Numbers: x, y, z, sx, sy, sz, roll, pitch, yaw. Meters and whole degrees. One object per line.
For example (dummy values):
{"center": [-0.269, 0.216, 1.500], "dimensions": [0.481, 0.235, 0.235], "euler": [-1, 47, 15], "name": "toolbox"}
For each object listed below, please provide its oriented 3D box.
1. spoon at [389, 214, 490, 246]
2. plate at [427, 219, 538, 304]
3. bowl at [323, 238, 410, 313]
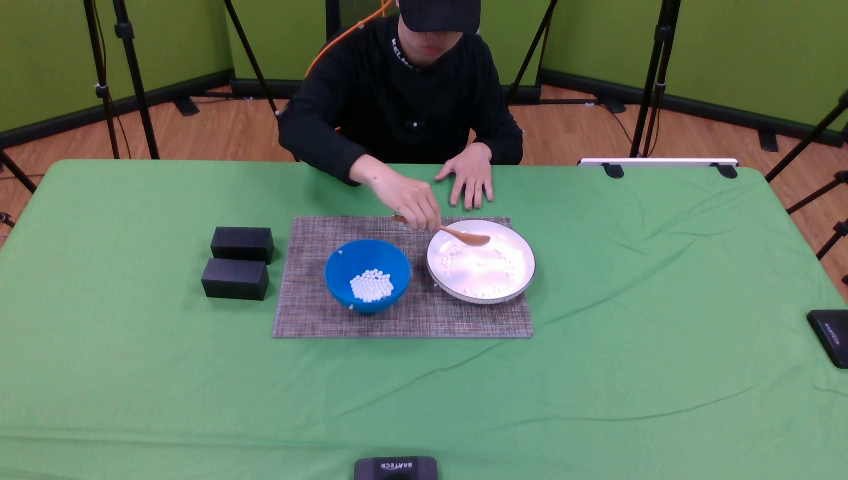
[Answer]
{"center": [0.030, -0.020, 1.096], "dimensions": [0.194, 0.042, 0.021], "euler": [17, 59, -12], "name": "spoon"}
{"center": [0.109, 0.044, 1.149], "dimensions": [0.208, 0.039, 0.206], "euler": [2, 46, -2], "name": "plate"}
{"center": [-0.101, 0.077, 1.073], "dimensions": [0.151, 0.077, 0.150], "euler": [2, 46, -2], "name": "bowl"}
